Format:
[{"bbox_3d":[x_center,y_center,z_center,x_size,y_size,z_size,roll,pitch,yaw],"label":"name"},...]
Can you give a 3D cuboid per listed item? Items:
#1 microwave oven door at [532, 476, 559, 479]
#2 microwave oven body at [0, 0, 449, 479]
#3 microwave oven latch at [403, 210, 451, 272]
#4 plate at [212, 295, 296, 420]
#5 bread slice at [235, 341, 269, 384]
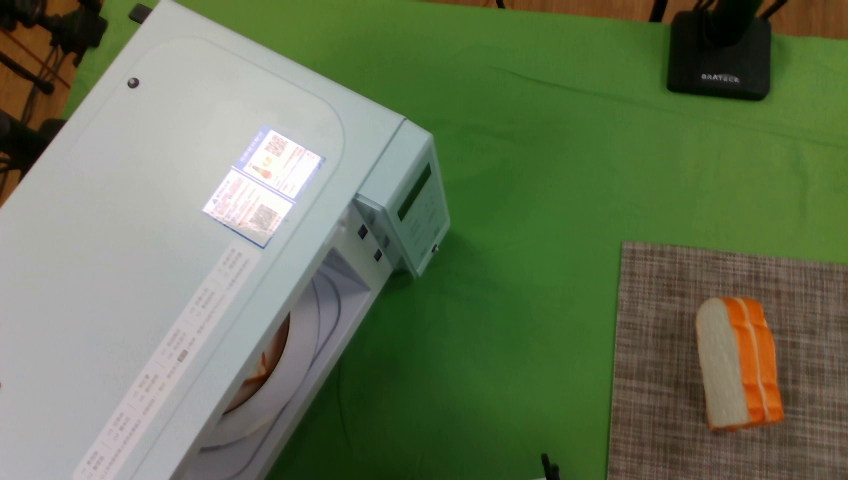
[{"bbox_3d":[-0.044,0.260,0.529,0.356,0.245,0.039,-11,71,3],"label":"microwave oven door"},{"bbox_3d":[-0.225,0.047,0.616,0.324,0.262,0.440,29,79,13],"label":"microwave oven body"},{"bbox_3d":[0.003,-0.004,0.709,0.030,0.030,0.079,30,80,13],"label":"microwave oven latch"},{"bbox_3d":[-0.239,0.092,0.657,0.207,0.039,0.206,-1,74,3],"label":"plate"},{"bbox_3d":[-0.239,0.117,0.654,0.134,0.018,0.106,-16,70,-6],"label":"bread slice"}]
